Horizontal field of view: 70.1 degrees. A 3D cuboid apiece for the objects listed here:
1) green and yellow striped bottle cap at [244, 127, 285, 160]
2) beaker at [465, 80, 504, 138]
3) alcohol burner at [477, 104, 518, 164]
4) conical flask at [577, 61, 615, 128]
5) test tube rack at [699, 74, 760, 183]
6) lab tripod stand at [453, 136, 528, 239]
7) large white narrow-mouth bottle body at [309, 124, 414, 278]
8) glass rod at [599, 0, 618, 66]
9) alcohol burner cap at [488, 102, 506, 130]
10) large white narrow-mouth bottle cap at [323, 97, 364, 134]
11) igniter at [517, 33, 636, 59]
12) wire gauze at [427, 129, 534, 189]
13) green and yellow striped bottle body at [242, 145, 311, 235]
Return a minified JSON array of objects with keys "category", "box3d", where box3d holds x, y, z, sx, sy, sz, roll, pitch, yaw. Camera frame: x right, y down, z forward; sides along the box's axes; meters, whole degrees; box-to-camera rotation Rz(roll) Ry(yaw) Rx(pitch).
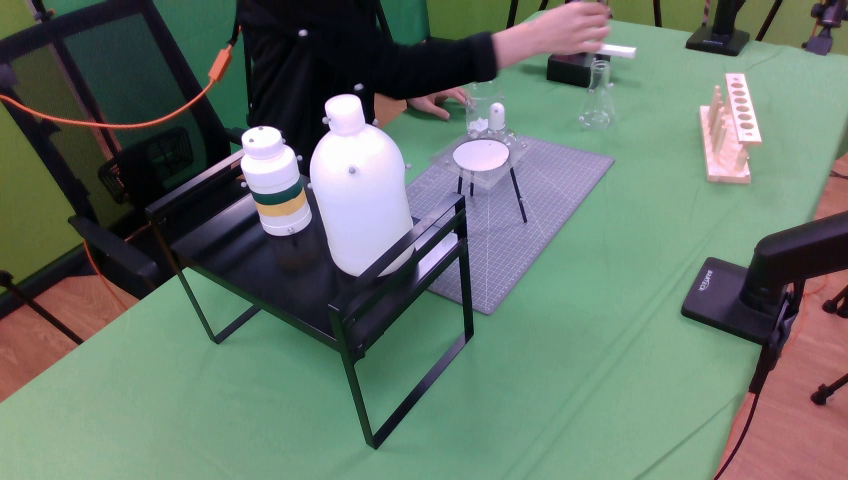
[{"category":"green and yellow striped bottle cap","box3d":[-0.183,-0.111,0.694,0.045,0.020,0.045,-1,41,1]},{"category":"beaker","box3d":[0.118,-0.254,1.193,0.074,0.101,0.083,-19,41,-14]},{"category":"alcohol burner","box3d":[0.135,-0.200,1.116,0.078,0.119,0.077,-4,43,4]},{"category":"conical flask","box3d":[0.343,-0.288,1.188,0.075,0.122,0.075,-4,41,4]},{"category":"test tube rack","box3d":[0.547,-0.208,1.095,0.066,0.085,0.242,6,42,16]},{"category":"lab tripod stand","box3d":[0.094,-0.086,0.974,0.148,0.132,0.147,-4,43,4]},{"category":"large white narrow-mouth bottle body","box3d":[-0.068,-0.057,0.644,0.102,0.195,0.101,-4,42,4]},{"category":"glass rod","box3d":[0.300,-0.348,0.970,0.008,0.200,0.008,-2,65,5]},{"category":"alcohol burner cap","box3d":[0.133,-0.227,1.092,0.034,0.048,0.033,-1,47,2]},{"category":"large white narrow-mouth bottle cap","box3d":[-0.077,-0.121,0.584,0.038,0.024,0.037,-4,42,4]},{"category":"igniter","box3d":[0.336,-0.441,1.369,0.275,0.025,0.057,16,41,23]},{"category":"wire gauze","box3d":[0.086,-0.131,0.924,0.124,0.011,0.122,26,52,33]},{"category":"green and yellow striped bottle body","box3d":[-0.179,-0.069,0.730,0.063,0.120,0.063,-4,41,4]}]
